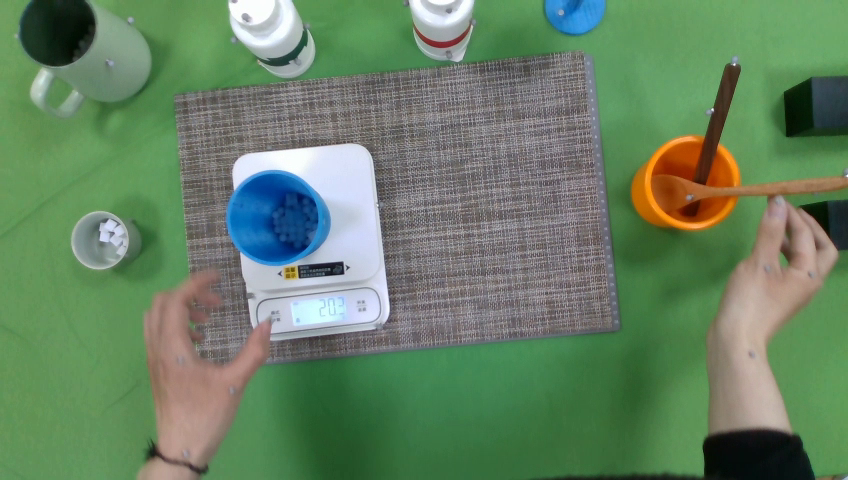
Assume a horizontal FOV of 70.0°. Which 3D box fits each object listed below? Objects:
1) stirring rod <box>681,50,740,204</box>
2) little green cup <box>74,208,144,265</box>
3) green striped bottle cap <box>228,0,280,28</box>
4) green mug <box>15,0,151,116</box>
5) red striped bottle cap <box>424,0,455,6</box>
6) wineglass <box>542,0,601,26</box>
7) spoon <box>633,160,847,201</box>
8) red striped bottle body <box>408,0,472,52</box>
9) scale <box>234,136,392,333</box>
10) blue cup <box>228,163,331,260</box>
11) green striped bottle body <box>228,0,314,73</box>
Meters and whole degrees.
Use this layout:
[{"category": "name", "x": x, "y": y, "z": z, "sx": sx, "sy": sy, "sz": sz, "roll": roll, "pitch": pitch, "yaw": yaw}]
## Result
[{"category": "stirring rod", "x": 0.272, "y": -0.100, "z": 0.581, "sx": 0.014, "sy": 0.178, "sz": 0.006, "roll": 9, "pitch": 48, "yaw": 15}, {"category": "little green cup", "x": -0.334, "y": -0.003, "z": 0.650, "sx": 0.061, "sy": 0.038, "sz": 0.061, "roll": 0, "pitch": 89, "yaw": 0}, {"category": "green striped bottle cap", "x": -0.155, "y": -0.218, "z": 0.552, "sx": 0.044, "sy": 0.020, "sz": 0.044, "roll": 0, "pitch": 89, "yaw": 3}, {"category": "green mug", "x": -0.352, "y": -0.185, "z": 0.620, "sx": 0.092, "sy": 0.105, "sz": 0.125, "roll": 29, "pitch": 90, "yaw": 2}, {"category": "red striped bottle cap", "x": 0.014, "y": -0.238, "z": 0.551, "sx": 0.044, "sy": 0.018, "sz": 0.044, "roll": 0, "pitch": 86, "yaw": 2}, {"category": "wineglass", "x": 0.157, "y": -0.268, "z": 0.575, "sx": 0.074, "sy": 0.172, "sz": 0.073, "roll": 0, "pitch": 88, "yaw": 2}, {"category": "spoon", "x": 0.295, "y": -0.059, "z": 0.580, "sx": 0.022, "sy": 0.192, "sz": 0.042, "roll": -22, "pitch": 106, "yaw": -40}, {"category": "red striped bottle body", "x": 0.016, "y": -0.237, "z": 0.604, "sx": 0.063, "sy": 0.120, "sz": 0.063, "roll": 0, "pitch": 89, "yaw": 1}, {"category": "scale", "x": -0.118, "y": -0.005, "z": 0.644, "sx": 0.148, "sy": 0.031, "sz": 0.200, "roll": -7, "pitch": 89, "yaw": 2}, {"category": "blue cup", "x": -0.128, "y": -0.025, "z": 0.580, "sx": 0.092, "sy": 0.100, "sz": 0.092, "roll": 0, "pitch": 91, "yaw": 1}, {"category": "green striped bottle body", "x": -0.153, "y": -0.215, "z": 0.608, "sx": 0.063, "sy": 0.119, "sz": 0.063, "roll": 0, "pitch": 89, "yaw": 2}]
